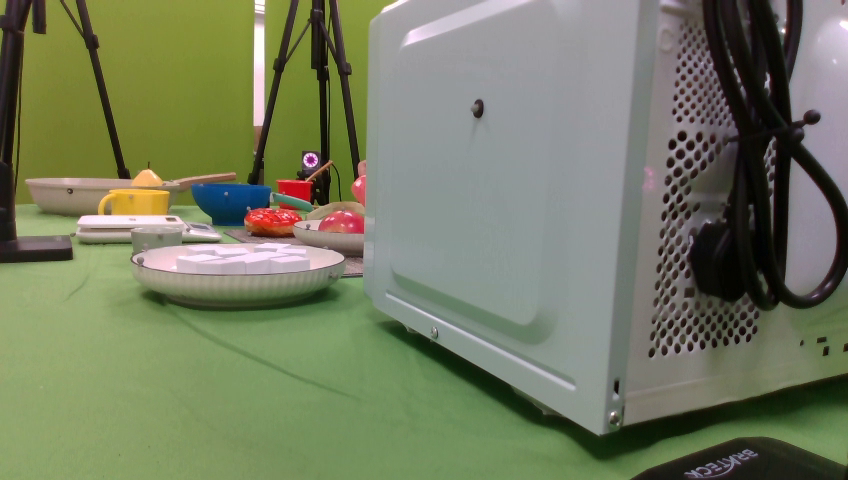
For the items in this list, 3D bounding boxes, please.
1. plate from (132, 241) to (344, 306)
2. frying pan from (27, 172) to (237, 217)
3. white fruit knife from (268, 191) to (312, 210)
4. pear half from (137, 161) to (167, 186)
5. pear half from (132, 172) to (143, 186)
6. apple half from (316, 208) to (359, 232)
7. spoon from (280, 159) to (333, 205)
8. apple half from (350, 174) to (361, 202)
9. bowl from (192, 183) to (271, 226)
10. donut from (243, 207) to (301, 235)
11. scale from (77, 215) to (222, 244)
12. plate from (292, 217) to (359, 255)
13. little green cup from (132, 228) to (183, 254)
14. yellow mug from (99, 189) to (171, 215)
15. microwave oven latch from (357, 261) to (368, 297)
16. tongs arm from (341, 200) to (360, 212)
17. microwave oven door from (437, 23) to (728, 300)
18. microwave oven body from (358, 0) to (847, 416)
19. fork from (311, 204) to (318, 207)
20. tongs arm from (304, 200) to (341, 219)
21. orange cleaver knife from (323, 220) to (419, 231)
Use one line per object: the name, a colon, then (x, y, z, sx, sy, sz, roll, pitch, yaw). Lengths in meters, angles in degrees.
plate: (-0.187, 0.033, 0.625, 0.208, 0.039, 0.207, 2, 8, 0)
frying pan: (-0.624, -0.118, 1.387, 0.305, 0.102, 0.490, 8, 17, 32)
white fruit knife: (-0.364, -0.105, 1.464, 0.208, 0.027, 0.016, 15, 0, -34)
pear half: (-0.602, -0.120, 1.354, 0.056, 0.110, 0.076, 4, 11, 6)
pear half: (-0.638, -0.113, 1.361, 0.031, 0.088, 0.070, 5, 11, 4)
apple half: (-0.122, -0.020, 0.901, 0.080, 0.053, 0.075, 5, 11, 22)
spoon: (-0.316, -0.159, 1.640, 0.194, 0.022, 0.041, -49, 31, -20)
apple half: (-0.082, -0.087, 1.011, 0.082, 0.081, 0.032, -4, -32, -39)
bowl: (-0.382, -0.071, 1.202, 0.151, 0.077, 0.151, 3, 7, 0)
donut: (-0.261, -0.032, 1.043, 0.099, 0.048, 0.099, 4, 9, 0)
scale: (-0.434, -0.019, 0.963, 0.202, 0.031, 0.148, -1, 9, -27)
plate: (-0.098, -0.007, 0.928, 0.209, 0.038, 0.209, 2, 8, 0)
little green cup: (-0.342, 0.006, 0.779, 0.061, 0.038, 0.061, 2, 8, 0)
yellow mug: (-0.518, -0.055, 1.080, 0.099, 0.064, 0.131, 7, 9, 26)
microwave oven latch: (-0.019, 0.033, 0.531, 0.079, 0.029, 0.030, -1, 7, -27)
tongs arm: (-0.148, -0.070, 1.429, 0.051, 0.026, 0.383, -3, 8, -14)
microwave oven door: (0.180, -0.072, 0.621, 0.358, 0.243, 0.039, -2, 8, -29)
microwave oven body: (0.211, -0.047, 0.475, 0.444, 0.260, 0.324, -1, 7, -28)
fork: (-0.356, -0.105, 1.526, 0.208, 0.018, 0.028, 16, -5, -41)
tongs arm: (-0.235, -0.069, 1.415, 0.028, 0.028, 0.387, -5, 7, 1)
orange cleaver knife: (-0.096, -0.026, 1.152, 0.077, 0.012, 0.212, 3, 7, 41)
